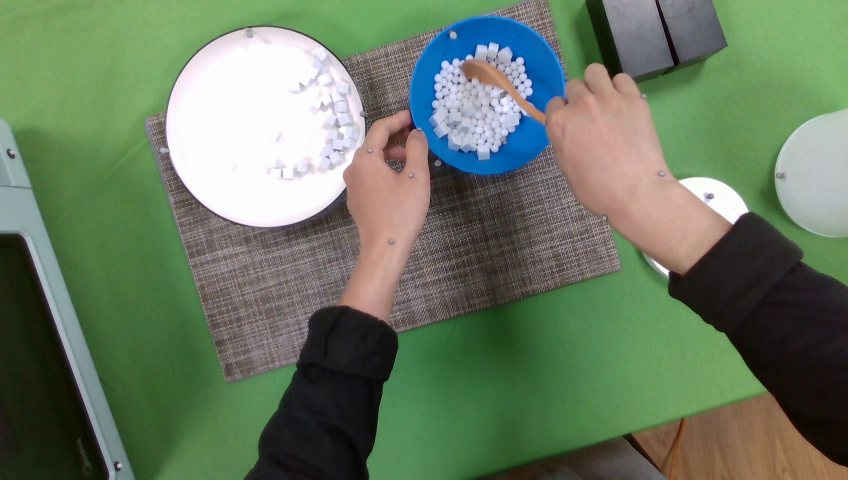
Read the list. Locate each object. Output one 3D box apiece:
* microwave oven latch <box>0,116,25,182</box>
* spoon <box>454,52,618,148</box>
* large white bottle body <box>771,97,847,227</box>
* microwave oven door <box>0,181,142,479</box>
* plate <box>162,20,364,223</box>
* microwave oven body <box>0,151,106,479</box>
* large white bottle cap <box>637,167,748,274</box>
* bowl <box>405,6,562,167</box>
[{"bbox_3d":[-0.447,-0.096,0.629,0.030,0.029,0.079,-18,93,1],"label":"microwave oven latch"},{"bbox_3d":[0.097,-0.129,0.557,0.021,0.042,0.192,-47,59,0],"label":"spoon"},{"bbox_3d":[0.430,-0.077,0.558,0.130,0.184,0.130,0,92,1],"label":"large white bottle body"},{"bbox_3d":[-0.381,0.116,0.538,0.039,0.243,0.356,-19,92,2],"label":"microwave oven door"},{"bbox_3d":[-0.165,-0.121,0.637,0.209,0.038,0.209,0,93,1],"label":"plate"},{"bbox_3d":[-0.533,0.123,0.546,0.326,0.260,0.442,-19,93,1],"label":"microwave oven body"},{"bbox_3d":[0.287,-0.021,0.647,0.115,0.018,0.115,0,93,0],"label":"large white bottle cap"},{"bbox_3d":[0.058,-0.146,0.612,0.151,0.077,0.151,0,94,2],"label":"bowl"}]
